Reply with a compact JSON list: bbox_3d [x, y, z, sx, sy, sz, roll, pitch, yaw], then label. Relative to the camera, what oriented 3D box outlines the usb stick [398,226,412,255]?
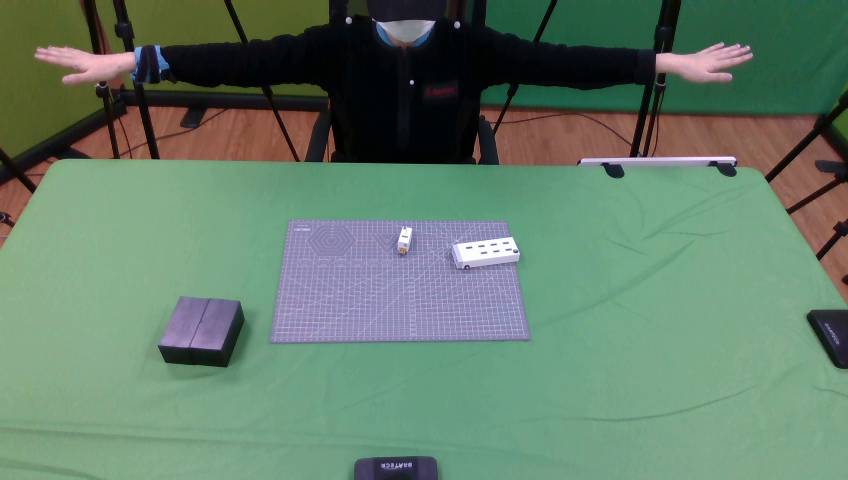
[{"bbox_3d":[-0.038,0.003,1.184,0.021,0.027,0.059,11,49,4],"label":"usb stick"}]

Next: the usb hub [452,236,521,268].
[{"bbox_3d":[0.121,0.024,1.176,0.125,0.025,0.049,-7,48,-10],"label":"usb hub"}]
